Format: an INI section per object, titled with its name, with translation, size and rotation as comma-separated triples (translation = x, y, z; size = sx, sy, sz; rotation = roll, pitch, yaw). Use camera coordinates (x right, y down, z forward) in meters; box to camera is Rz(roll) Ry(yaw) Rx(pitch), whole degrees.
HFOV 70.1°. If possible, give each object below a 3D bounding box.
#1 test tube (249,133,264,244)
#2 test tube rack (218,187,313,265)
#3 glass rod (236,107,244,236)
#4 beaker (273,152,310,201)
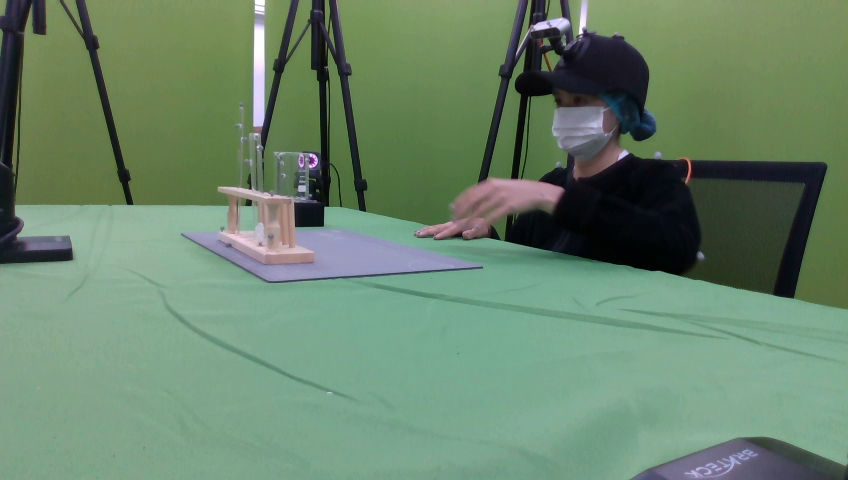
[test tube]
translation = -0.228, -0.070, 0.824
size = 0.017, 0.150, 0.017
rotation = -1, 4, 0
[test tube rack]
translation = -0.235, -0.027, 0.872
size = 0.067, 0.085, 0.241
rotation = -2, 8, -32
[glass rod]
translation = -0.282, -0.102, 0.924
size = 0.008, 0.199, 0.008
rotation = 2, 2, 0
[beaker]
translation = -0.277, -0.131, 1.250
size = 0.073, 0.100, 0.084
rotation = 6, 9, 26
